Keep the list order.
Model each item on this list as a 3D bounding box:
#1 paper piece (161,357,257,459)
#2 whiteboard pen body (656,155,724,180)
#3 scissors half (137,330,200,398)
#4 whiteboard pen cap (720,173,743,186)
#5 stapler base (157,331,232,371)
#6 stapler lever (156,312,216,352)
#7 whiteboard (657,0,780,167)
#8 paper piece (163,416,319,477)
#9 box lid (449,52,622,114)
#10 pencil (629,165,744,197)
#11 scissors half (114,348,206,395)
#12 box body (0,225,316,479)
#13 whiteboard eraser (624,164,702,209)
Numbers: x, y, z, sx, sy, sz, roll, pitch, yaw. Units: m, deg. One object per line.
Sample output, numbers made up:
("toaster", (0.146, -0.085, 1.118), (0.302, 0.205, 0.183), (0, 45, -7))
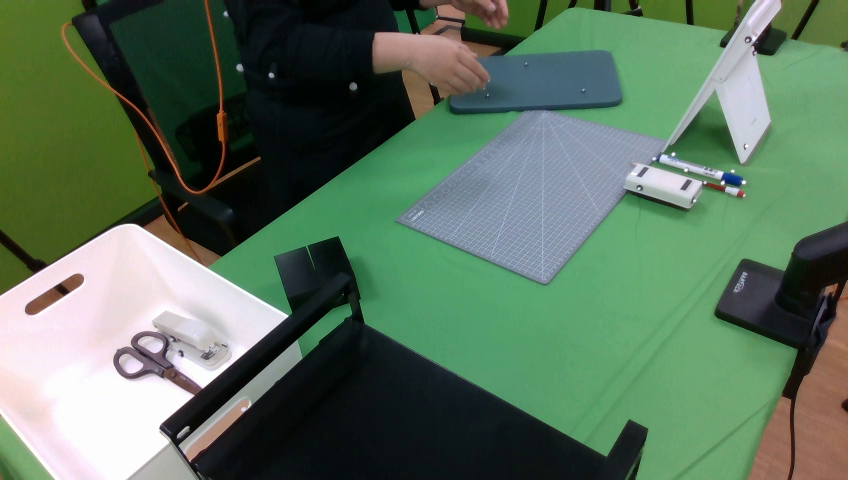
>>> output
("paper piece", (-0.232, 0.219, 0.749), (0.134, 0.004, 0.136), (25, 51, 32))
("whiteboard pen body", (0.475, -0.123, 1.051), (0.139, 0.017, 0.017), (24, 49, 32))
("scissors half", (-0.336, 0.172, 0.822), (0.174, 0.013, 0.040), (34, 55, 32))
("whiteboard pen cap", (0.519, -0.103, 1.020), (0.033, 0.018, 0.018), (23, 49, 30))
("stapler base", (-0.326, 0.142, 0.849), (0.129, 0.024, 0.041), (18, 43, 32))
("stapler lever", (-0.331, 0.122, 0.835), (0.117, 0.040, 0.027), (17, 43, 33))
("whiteboard", (0.571, -0.272, 1.038), (0.143, 0.306, 0.218), (37, 54, 17))
("paper piece", (-0.229, 0.236, 0.760), (0.137, 0.008, 0.137), (33, 37, 29))
("box lid", (0.249, -0.358, 1.371), (0.371, 0.015, 0.262), (-1, 40, 9))
("pencil", (0.447, -0.103, 1.038), (0.192, 0.012, 0.012), (21, 48, 29))
("scissors half", (-0.348, 0.185, 0.810), (0.174, 0.013, 0.040), (14, 52, 19))
("box body", (-0.339, 0.162, 0.728), (0.361, 0.161, 0.255), (23, 48, 31))
("whiteboard eraser", (0.396, -0.087, 1.003), (0.112, 0.042, 0.056), (22, 47, 31))
